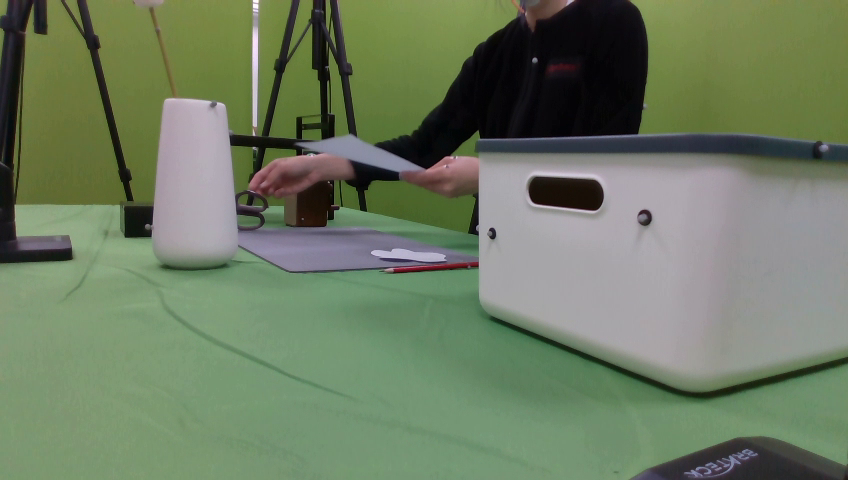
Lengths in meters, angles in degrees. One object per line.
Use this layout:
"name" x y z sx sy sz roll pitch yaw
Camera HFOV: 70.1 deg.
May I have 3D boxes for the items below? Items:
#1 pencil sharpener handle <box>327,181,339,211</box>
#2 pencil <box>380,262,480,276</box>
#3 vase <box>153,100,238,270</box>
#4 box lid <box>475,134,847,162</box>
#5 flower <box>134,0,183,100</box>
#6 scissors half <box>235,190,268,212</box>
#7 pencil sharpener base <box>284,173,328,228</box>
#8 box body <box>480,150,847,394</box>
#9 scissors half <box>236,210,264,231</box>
"pencil sharpener handle" -0.194 -0.094 1.257 0.031 0.067 0.036 -2 -6 -36
"pencil" 0.030 0.037 0.795 0.195 0.012 0.012 -4 10 -29
"vase" -0.278 -0.066 0.736 0.098 0.200 0.098 2 9 0
"box lid" 0.256 -0.073 0.528 0.373 0.015 0.262 -2 8 -31
"flower" -0.282 -0.147 0.713 0.038 0.362 0.044 -23 24 -31
"scissors half" -0.363 -0.070 1.060 0.176 0.040 0.013 0 16 -22
"pencil sharpener base" -0.239 -0.081 1.231 0.077 0.107 0.061 -2 8 -36
"box body" 0.254 0.002 0.539 0.366 0.160 0.253 -2 8 -31
"scissors half" -0.369 -0.051 1.065 0.176 0.040 0.012 19 14 -27
